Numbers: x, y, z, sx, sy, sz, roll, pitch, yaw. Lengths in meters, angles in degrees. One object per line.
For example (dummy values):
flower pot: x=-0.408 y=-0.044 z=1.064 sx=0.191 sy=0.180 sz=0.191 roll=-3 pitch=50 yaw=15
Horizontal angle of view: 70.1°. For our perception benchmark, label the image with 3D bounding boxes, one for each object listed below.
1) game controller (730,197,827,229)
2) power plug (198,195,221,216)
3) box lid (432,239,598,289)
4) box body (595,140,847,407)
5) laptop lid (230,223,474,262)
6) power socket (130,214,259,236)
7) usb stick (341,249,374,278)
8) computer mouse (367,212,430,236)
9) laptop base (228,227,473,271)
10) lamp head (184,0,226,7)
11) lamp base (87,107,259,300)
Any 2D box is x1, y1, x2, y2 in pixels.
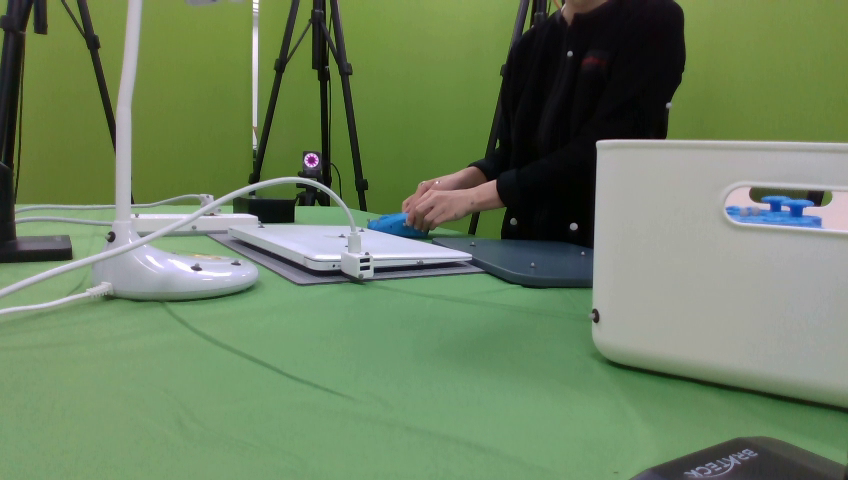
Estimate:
game controller: x=0.257 y=-0.004 z=0.445 sx=0.097 sy=0.051 sz=0.155 roll=1 pitch=7 yaw=15
power plug: x=-0.386 y=-0.055 z=1.088 sx=0.035 sy=0.052 sz=0.072 roll=-1 pitch=6 yaw=-24
box lid: x=0.183 y=0.029 z=0.895 sx=0.264 sy=0.015 sz=0.370 roll=1 pitch=7 yaw=-18
box body: x=0.309 y=0.006 z=0.510 sx=0.253 sy=0.160 sz=0.366 roll=6 pitch=8 yaw=29
laptop lid: x=-0.121 y=0.000 z=0.888 sx=0.243 sy=0.013 sz=0.355 roll=1 pitch=7 yaw=-33
power socket: x=-0.397 y=-0.028 z=1.048 sx=0.228 sy=0.032 sz=0.072 roll=-3 pitch=7 yaw=-35
usb stick: x=-0.078 y=0.026 z=0.686 sx=0.021 sy=0.027 sz=0.059 roll=-8 pitch=8 yaw=-30
computer mouse: x=-0.048 y=-0.029 z=1.129 sx=0.117 sy=0.041 sz=0.062 roll=-3 pitch=13 yaw=-13
laptop base: x=-0.124 y=0.011 z=0.889 sx=0.237 sy=0.023 sz=0.352 roll=2 pitch=6 yaw=-35
lamp head: x=-0.229 y=-0.320 z=0.627 sx=0.112 sy=0.112 sz=0.123 roll=6 pitch=-35 yaw=26
lamp base: x=-0.254 y=-0.039 z=0.603 sx=0.160 sy=0.180 sz=0.179 roll=5 pitch=10 yaw=18
